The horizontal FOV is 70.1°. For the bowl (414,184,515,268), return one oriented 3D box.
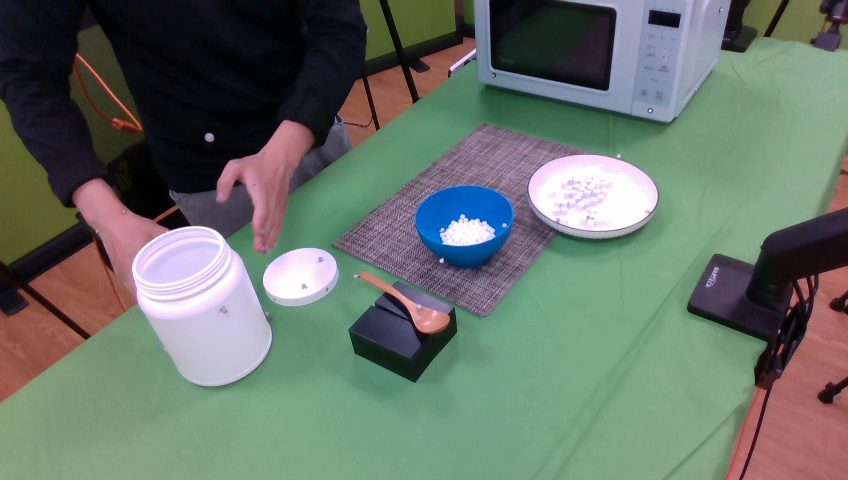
[{"bbox_3d":[0.063,-0.010,0.922,0.151,0.077,0.150,-4,40,4],"label":"bowl"}]

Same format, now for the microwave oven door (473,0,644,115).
[{"bbox_3d":[0.257,-0.396,1.199,0.353,0.245,0.039,21,48,29],"label":"microwave oven door"}]

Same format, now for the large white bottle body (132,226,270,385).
[{"bbox_3d":[-0.286,0.085,0.783,0.130,0.185,0.130,-4,41,4],"label":"large white bottle body"}]

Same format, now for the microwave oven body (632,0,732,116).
[{"bbox_3d":[0.377,-0.462,1.267,0.438,0.261,0.327,21,48,30],"label":"microwave oven body"}]

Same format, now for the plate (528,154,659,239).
[{"bbox_3d":[0.274,-0.069,0.993,0.209,0.038,0.208,-2,42,2],"label":"plate"}]

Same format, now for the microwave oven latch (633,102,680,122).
[{"bbox_3d":[0.444,-0.249,1.157,0.078,0.029,0.030,21,49,30],"label":"microwave oven latch"}]

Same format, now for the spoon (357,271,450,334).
[{"bbox_3d":[-0.034,0.078,0.812,0.042,0.022,0.192,-35,42,-24],"label":"spoon"}]

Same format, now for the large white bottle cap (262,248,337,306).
[{"bbox_3d":[-0.193,0.056,0.934,0.115,0.018,0.114,-4,41,4],"label":"large white bottle cap"}]
